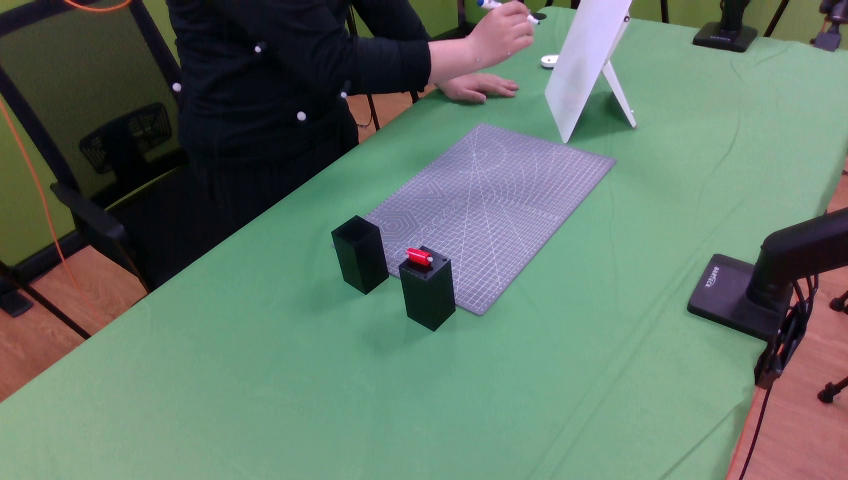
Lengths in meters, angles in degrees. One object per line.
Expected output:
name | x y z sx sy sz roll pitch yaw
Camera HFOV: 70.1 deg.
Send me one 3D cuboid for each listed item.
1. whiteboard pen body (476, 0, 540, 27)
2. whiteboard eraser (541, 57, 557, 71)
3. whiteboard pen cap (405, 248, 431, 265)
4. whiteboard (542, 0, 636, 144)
whiteboard pen body | 0.150 -0.391 1.048 0.142 0.017 0.016 7 31 -33
whiteboard eraser | 0.323 -0.412 1.408 0.101 0.019 0.041 1 42 11
whiteboard pen cap | -0.008 0.021 0.794 0.032 0.017 0.017 17 46 28
whiteboard | 0.366 -0.351 1.160 0.144 0.305 0.216 10 39 -10
